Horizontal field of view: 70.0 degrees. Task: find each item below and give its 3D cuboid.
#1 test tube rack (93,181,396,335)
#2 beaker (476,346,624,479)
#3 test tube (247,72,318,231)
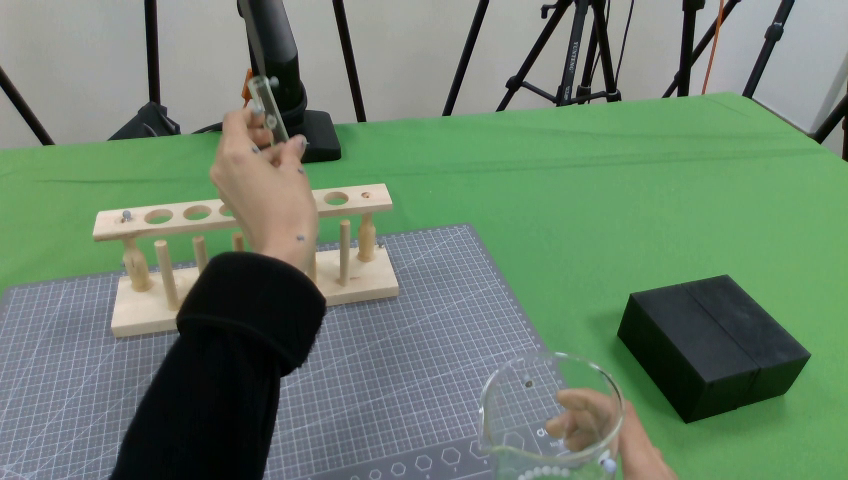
[{"bbox_3d":[-0.149,0.013,0.535,0.243,0.086,0.066,-7,39,-14],"label":"test tube rack"},{"bbox_3d":[0.070,0.124,0.343,0.084,0.101,0.073,-24,35,-21],"label":"beaker"},{"bbox_3d":[-0.115,-0.067,0.503,0.017,0.152,0.017,-7,39,6],"label":"test tube"}]
